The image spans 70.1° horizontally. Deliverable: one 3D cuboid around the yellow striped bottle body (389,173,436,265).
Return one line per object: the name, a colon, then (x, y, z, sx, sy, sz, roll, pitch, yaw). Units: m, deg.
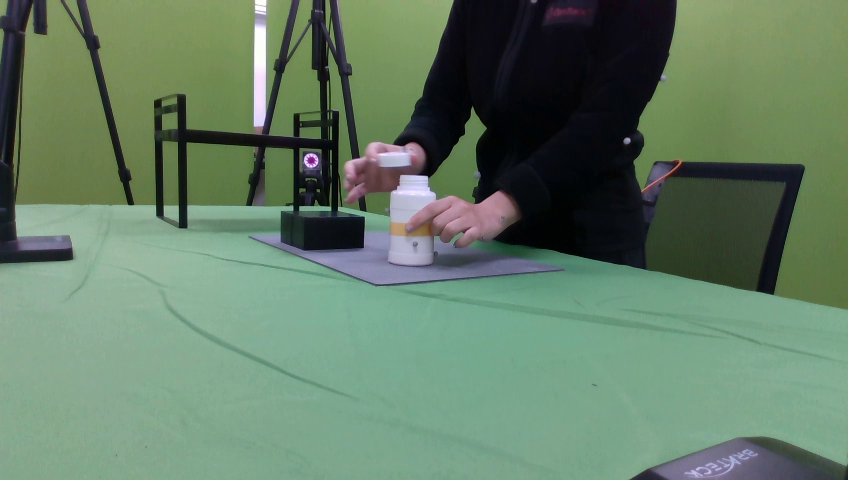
yellow striped bottle body: (-0.015, -0.030, 0.812, 0.063, 0.120, 0.063, 2, 7, 0)

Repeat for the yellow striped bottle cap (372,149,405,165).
yellow striped bottle cap: (-0.048, -0.112, 0.815, 0.044, 0.018, 0.044, -3, 10, 1)
